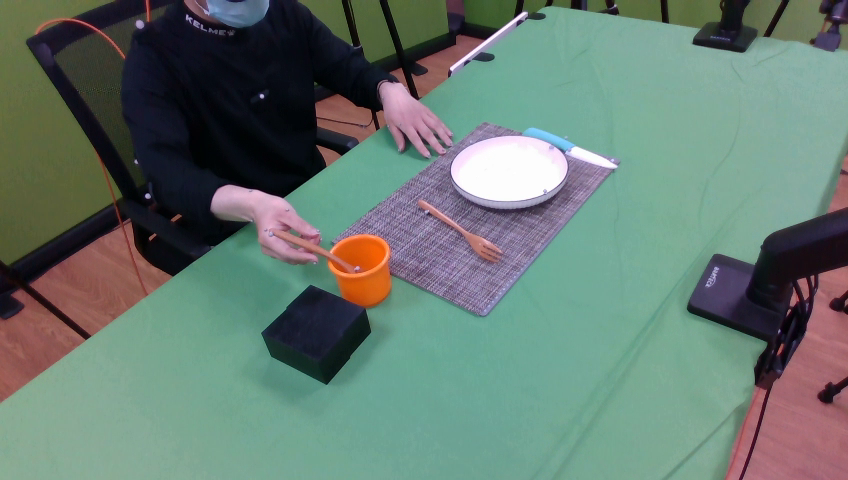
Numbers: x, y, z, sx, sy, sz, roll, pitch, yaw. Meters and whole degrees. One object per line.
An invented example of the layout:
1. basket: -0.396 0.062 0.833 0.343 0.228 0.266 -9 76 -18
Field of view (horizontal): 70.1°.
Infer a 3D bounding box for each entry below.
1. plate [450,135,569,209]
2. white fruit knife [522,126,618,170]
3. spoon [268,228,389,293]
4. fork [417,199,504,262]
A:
1. plate: 0.149 -0.117 1.065 0.209 0.038 0.208 -4 41 4
2. white fruit knife: 0.272 -0.172 1.132 0.205 0.016 0.027 32 82 34
3. spoon: -0.132 0.027 0.859 0.021 0.195 0.041 -41 30 31
4. fork: 0.053 -0.021 0.981 0.019 0.028 0.205 0 27 -41
